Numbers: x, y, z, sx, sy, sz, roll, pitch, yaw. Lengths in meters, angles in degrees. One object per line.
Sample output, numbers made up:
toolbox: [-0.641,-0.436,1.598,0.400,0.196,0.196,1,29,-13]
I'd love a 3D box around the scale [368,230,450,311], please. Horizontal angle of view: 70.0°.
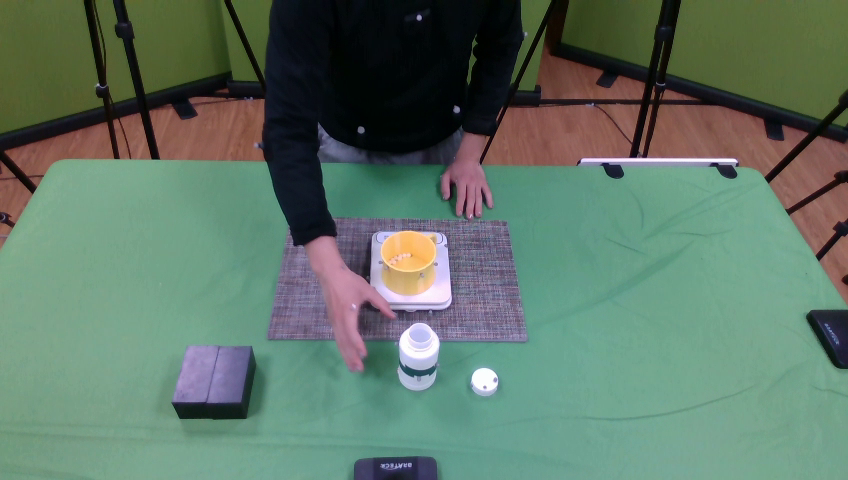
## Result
scale: [-0.029,0.048,1.137,0.149,0.032,0.199,1,46,-4]

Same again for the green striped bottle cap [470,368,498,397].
green striped bottle cap: [0.098,0.232,0.989,0.044,0.020,0.044,2,42,-1]

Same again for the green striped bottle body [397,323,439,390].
green striped bottle body: [-0.010,0.181,0.956,0.063,0.120,0.063,2,46,-2]

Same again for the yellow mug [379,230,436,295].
yellow mug: [-0.020,0.031,1.089,0.099,0.064,0.130,31,51,24]
